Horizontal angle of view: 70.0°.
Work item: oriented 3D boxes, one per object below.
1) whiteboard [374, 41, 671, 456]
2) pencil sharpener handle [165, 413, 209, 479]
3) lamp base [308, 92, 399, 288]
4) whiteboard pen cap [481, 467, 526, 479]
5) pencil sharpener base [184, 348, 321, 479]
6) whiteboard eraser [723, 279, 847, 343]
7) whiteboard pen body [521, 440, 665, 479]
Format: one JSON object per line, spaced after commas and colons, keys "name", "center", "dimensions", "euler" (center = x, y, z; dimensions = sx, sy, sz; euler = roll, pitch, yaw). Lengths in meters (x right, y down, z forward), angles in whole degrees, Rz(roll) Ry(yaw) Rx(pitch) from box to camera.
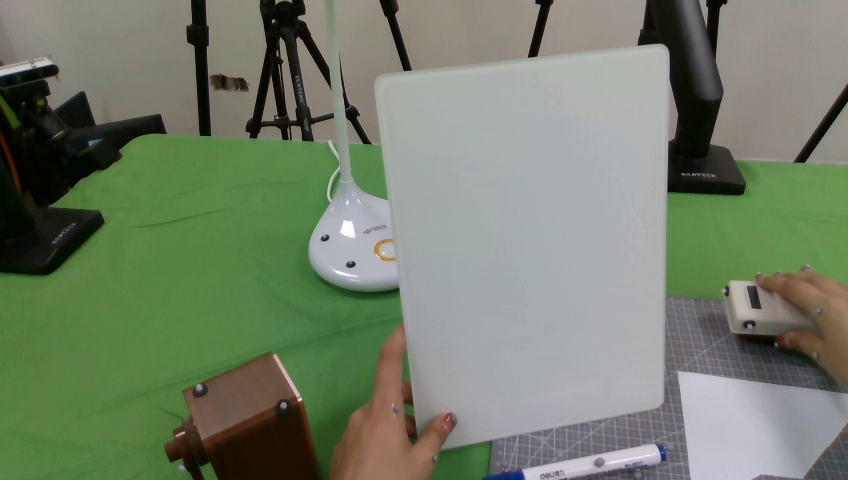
{"name": "whiteboard", "center": [0.078, -0.001, 0.530], "dimensions": [0.217, 0.307, 0.143], "euler": [-8, 17, -7]}
{"name": "pencil sharpener handle", "center": [-0.170, 0.157, 0.424], "dimensions": [0.031, 0.068, 0.035], "euler": [-22, 27, -24]}
{"name": "lamp base", "center": [-0.067, -0.065, 0.680], "dimensions": [0.161, 0.182, 0.177], "euler": [-26, 40, -29]}
{"name": "whiteboard pen cap", "center": [0.061, 0.184, 0.462], "dimensions": [0.033, 0.018, 0.018], "euler": [-8, 36, -9]}
{"name": "pencil sharpener base", "center": [-0.128, 0.148, 0.455], "dimensions": [0.077, 0.108, 0.060], "euler": [-22, 41, -24]}
{"name": "whiteboard eraser", "center": [0.349, 0.068, 0.577], "dimensions": [0.112, 0.042, 0.055], "euler": [3, 44, 12]}
{"name": "whiteboard pen body", "center": [0.119, 0.175, 0.470], "dimensions": [0.141, 0.017, 0.017], "euler": [-8, 36, -7]}
